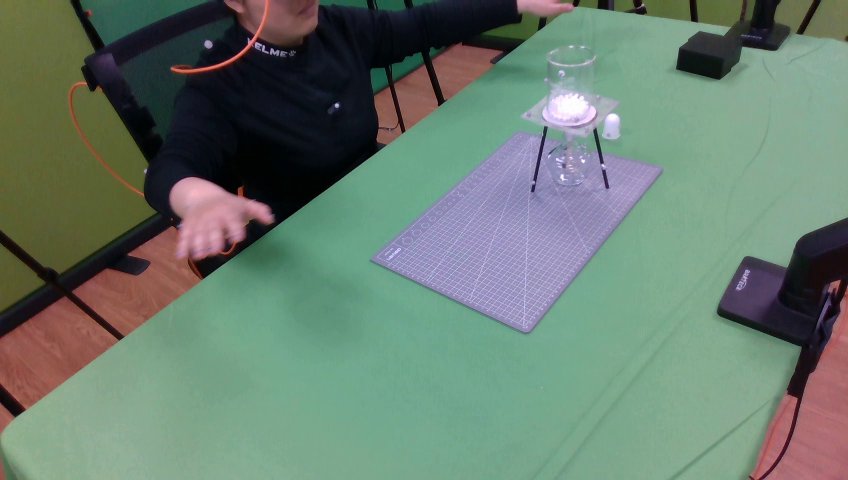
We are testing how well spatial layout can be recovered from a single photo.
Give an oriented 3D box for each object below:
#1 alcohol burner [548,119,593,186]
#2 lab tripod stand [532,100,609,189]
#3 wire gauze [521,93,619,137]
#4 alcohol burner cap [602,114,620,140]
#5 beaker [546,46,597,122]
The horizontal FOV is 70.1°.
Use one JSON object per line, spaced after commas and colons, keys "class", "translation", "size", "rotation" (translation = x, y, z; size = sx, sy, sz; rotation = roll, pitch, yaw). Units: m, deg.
{"class": "alcohol burner", "translation": [0.252, -0.154, 1.042], "size": [0.078, 0.120, 0.077], "rotation": [-7, 40, 7]}
{"class": "lab tripod stand", "translation": [0.251, -0.161, 1.034], "size": [0.148, 0.132, 0.147], "rotation": [-4, 39, 4]}
{"class": "wire gauze", "translation": [0.240, -0.212, 0.995], "size": [0.124, 0.011, 0.122], "rotation": [22, 46, 34]}
{"class": "alcohol burner cap", "translation": [0.359, -0.217, 1.157], "size": [0.034, 0.048, 0.033], "rotation": [-7, 40, 6]}
{"class": "beaker", "translation": [0.229, -0.246, 0.962], "size": [0.083, 0.101, 0.074], "rotation": [25, 49, 34]}
